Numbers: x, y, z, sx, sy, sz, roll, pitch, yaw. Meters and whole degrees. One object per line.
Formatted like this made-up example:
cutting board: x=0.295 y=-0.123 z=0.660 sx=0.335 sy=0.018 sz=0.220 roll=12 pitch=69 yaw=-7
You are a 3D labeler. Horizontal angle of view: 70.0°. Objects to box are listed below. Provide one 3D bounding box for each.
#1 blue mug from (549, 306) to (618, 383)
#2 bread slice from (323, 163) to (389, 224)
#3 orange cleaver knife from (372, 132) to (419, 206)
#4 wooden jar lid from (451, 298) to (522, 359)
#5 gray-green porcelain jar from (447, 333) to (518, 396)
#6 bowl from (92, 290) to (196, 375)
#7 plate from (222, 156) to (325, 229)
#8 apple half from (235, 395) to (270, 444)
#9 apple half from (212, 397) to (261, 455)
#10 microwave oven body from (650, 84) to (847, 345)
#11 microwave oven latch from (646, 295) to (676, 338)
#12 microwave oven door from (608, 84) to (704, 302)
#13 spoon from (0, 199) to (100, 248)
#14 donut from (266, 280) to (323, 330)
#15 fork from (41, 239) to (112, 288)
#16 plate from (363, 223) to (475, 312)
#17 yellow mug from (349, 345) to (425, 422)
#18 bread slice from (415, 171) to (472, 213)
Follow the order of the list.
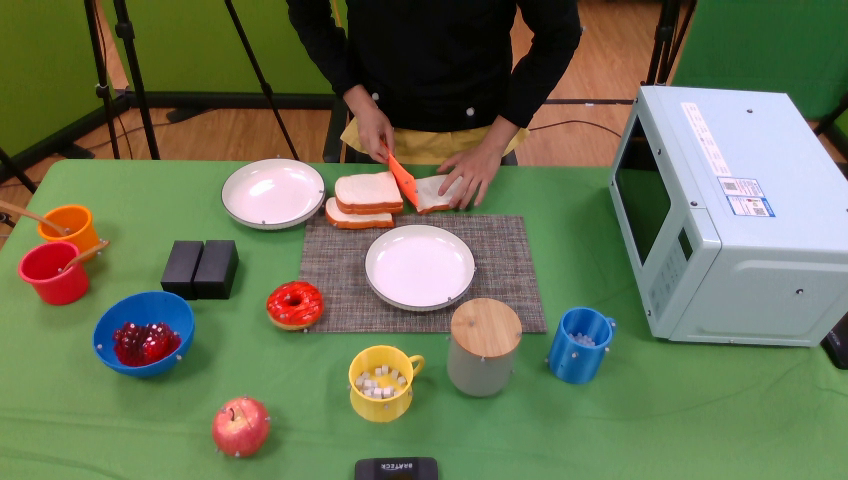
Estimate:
blue mug: x=0.269 y=0.167 z=0.997 sx=0.116 sy=0.106 sz=0.082 roll=-19 pitch=51 yaw=-21
bread slice: x=-0.140 y=-0.092 z=1.214 sx=0.134 sy=0.018 sz=0.106 roll=-25 pitch=50 yaw=12
orange cleaver knife: x=-0.061 y=-0.151 z=1.269 sx=0.012 sy=0.077 sz=0.210 roll=-21 pitch=49 yaw=-18
wooden jar lid: x=0.093 y=0.135 z=0.914 sx=0.108 sy=0.021 sz=0.107 roll=2 pitch=49 yaw=-3
gray-green porcelain jar: x=0.091 y=0.178 z=0.960 sx=0.106 sy=0.127 sz=0.105 roll=2 pitch=46 yaw=-2
bowl: x=-0.436 y=0.161 z=0.971 sx=0.151 sy=0.077 sz=0.150 roll=2 pitch=46 yaw=-2
plate: x=-0.308 y=-0.095 z=1.251 sx=0.209 sy=0.038 sz=0.208 roll=2 pitch=47 yaw=-2
apple half: x=-0.245 y=0.260 z=0.893 sx=0.033 sy=0.082 sz=0.081 roll=-29 pitch=55 yaw=-22
apple half: x=-0.276 y=0.276 z=0.877 sx=0.053 sy=0.075 sz=0.080 roll=-29 pitch=58 yaw=-21
microwave oven body: x=0.569 y=-0.054 z=1.116 sx=0.326 sy=0.261 sz=0.439 roll=2 pitch=46 yaw=-1
microwave oven latch: x=0.412 y=0.133 z=1.060 sx=0.030 sy=0.029 sz=0.078 roll=3 pitch=46 yaw=0
microwave oven door: x=0.424 y=-0.096 z=1.138 sx=0.039 sy=0.245 sz=0.353 roll=3 pitch=46 yaw=-1
spoon: x=-0.684 y=-0.035 z=1.092 sx=0.021 sy=0.195 sz=0.041 roll=-35 pitch=41 yaw=26
donut: x=-0.223 y=0.112 z=1.051 sx=0.099 sy=0.048 sz=0.098 roll=2 pitch=46 yaw=-2
fork: x=-0.591 y=0.040 z=1.028 sx=0.207 sy=0.019 sz=0.028 roll=-27 pitch=37 yaw=29
plate: x=-0.009 y=0.054 z=1.126 sx=0.208 sy=0.039 sz=0.206 roll=2 pitch=46 yaw=-2
yellow mug: x=-0.054 y=0.217 z=0.954 sx=0.131 sy=0.064 sz=0.099 roll=-23 pitch=52 yaw=-25
bread slice: x=0.037 y=-0.104 z=1.289 sx=0.132 sy=0.019 sz=0.104 roll=-12 pitch=47 yaw=-13
